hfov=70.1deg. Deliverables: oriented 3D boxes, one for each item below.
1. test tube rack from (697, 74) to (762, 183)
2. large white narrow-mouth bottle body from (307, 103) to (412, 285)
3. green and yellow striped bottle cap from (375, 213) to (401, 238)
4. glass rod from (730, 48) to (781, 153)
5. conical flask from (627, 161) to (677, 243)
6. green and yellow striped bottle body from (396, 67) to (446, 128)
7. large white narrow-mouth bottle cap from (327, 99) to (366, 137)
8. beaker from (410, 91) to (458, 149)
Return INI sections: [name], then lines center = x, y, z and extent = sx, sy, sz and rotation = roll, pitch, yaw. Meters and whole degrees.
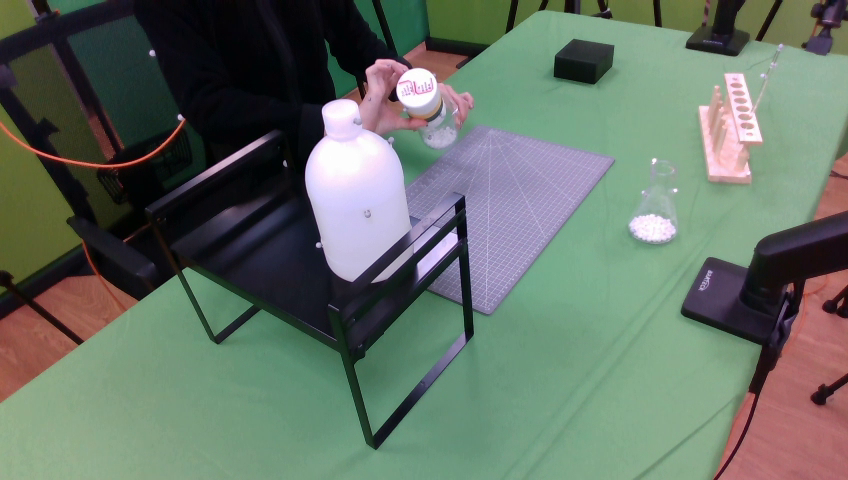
[test tube rack]
center = 0.547, -0.208, 1.095
extent = 0.066, 0.085, 0.242
rotation = 5, 42, 15
[large white narrow-mouth bottle body]
center = -0.070, -0.051, 0.638
extent = 0.102, 0.195, 0.101
rotation = -3, 40, 3
[green and yellow striped bottle cap]
center = -0.061, -0.025, 1.016
extent = 0.045, 0.020, 0.045
rotation = -2, 42, 2
[glass rod]
center = 0.554, -0.228, 1.015
extent = 0.008, 0.200, 0.008
rotation = 1, 44, -1
[conical flask]
center = 0.355, -0.061, 0.921
extent = 0.075, 0.122, 0.075
rotation = -4, 41, 4
[green and yellow striped bottle body]
center = -0.001, -0.219, 0.960
extent = 0.063, 0.120, 0.063
rotation = -2, 79, 10
[large white narrow-mouth bottle cap]
center = -0.075, -0.117, 0.582
extent = 0.038, 0.024, 0.037
rotation = -3, 40, 3
[beaker]
center = 0.023, -0.208, 1.059
extent = 0.084, 0.100, 0.073
rotation = -10, 77, 7
